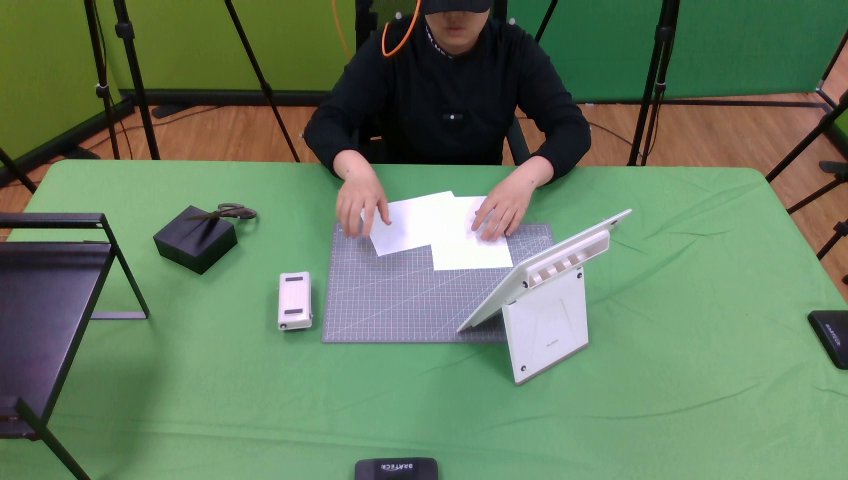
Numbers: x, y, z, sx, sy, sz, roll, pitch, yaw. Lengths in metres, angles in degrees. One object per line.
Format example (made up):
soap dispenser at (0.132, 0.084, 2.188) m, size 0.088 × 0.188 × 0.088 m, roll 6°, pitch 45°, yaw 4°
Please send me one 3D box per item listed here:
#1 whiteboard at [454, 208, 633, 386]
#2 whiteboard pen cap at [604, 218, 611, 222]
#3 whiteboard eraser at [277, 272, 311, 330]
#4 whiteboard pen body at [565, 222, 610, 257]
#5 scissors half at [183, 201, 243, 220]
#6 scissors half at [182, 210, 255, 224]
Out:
whiteboard at (0.211, 0.111, 0.954) m, size 0.217 × 0.306 × 0.143 m, roll -22°, pitch 72°, yaw -24°
whiteboard pen cap at (0.378, -0.031, 1.255) m, size 0.033 × 0.018 × 0.018 m, roll -33°, pitch 57°, yaw -30°
whiteboard eraser at (-0.228, 0.108, 1.062) m, size 0.056 × 0.042 × 0.112 m, roll -3°, pitch 46°, yaw -10°
whiteboard pen body at (0.335, -0.004, 1.228) m, size 0.141 × 0.017 × 0.017 m, roll -32°, pitch 56°, yaw -29°
scissors half at (-0.405, -0.054, 1.163) m, size 0.040 × 0.013 × 0.175 m, roll 28°, pitch 18°, yaw 7°
scissors half at (-0.389, -0.043, 1.158) m, size 0.040 × 0.013 × 0.175 m, roll 40°, pitch 21°, yaw 23°
